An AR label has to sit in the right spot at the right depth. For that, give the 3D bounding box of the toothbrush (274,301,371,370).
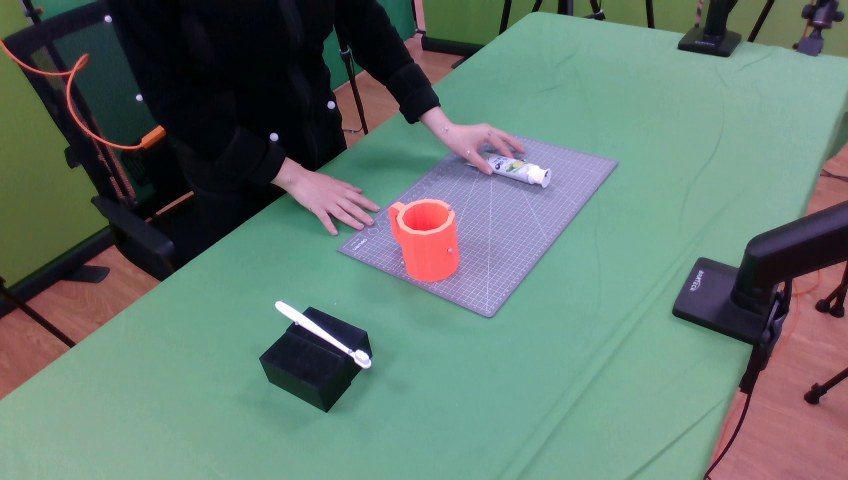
[{"bbox_3d":[-0.135,0.119,0.783,0.180,0.017,0.014,25,53,32],"label":"toothbrush"}]

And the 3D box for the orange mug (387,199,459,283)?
[{"bbox_3d":[-0.006,-0.007,0.923,0.125,0.101,0.084,32,54,32],"label":"orange mug"}]

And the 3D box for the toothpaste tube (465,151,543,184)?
[{"bbox_3d":[0.154,-0.135,1.108,0.163,0.034,0.055,23,43,37],"label":"toothpaste tube"}]

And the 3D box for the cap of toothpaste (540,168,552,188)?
[{"bbox_3d":[0.212,-0.109,1.058,0.011,0.037,0.037,19,47,28],"label":"cap of toothpaste"}]
